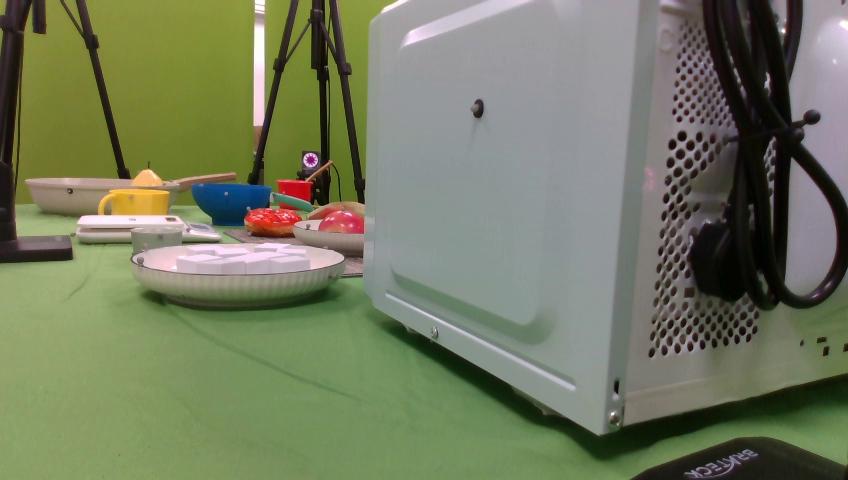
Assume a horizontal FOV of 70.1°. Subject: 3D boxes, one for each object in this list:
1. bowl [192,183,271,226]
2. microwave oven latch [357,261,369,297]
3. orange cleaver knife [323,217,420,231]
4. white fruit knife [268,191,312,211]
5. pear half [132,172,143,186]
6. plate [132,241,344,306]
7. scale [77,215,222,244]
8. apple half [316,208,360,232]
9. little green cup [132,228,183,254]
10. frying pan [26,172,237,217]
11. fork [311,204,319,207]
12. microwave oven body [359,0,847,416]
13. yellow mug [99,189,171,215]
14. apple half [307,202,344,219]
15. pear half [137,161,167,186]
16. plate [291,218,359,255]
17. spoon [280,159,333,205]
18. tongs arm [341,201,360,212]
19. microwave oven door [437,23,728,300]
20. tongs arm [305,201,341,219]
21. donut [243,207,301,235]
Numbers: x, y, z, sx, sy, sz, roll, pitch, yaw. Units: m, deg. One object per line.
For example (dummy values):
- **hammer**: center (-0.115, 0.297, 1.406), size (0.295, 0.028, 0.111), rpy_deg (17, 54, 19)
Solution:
- **bowl**: center (-0.382, -0.071, 1.202), size (0.151, 0.077, 0.151), rpy_deg (3, 7, 0)
- **microwave oven latch**: center (-0.019, 0.033, 0.530), size (0.079, 0.029, 0.030), rpy_deg (-1, 7, -26)
- **orange cleaver knife**: center (-0.096, -0.029, 1.151), size (0.077, 0.012, 0.212), rpy_deg (-5, 3, 42)
- **white fruit knife**: center (-0.364, -0.105, 1.464), size (0.208, 0.027, 0.016), rpy_deg (15, 0, -34)
- **pear half**: center (-0.638, -0.113, 1.361), size (0.031, 0.088, 0.070), rpy_deg (5, 11, 4)
- **plate**: center (-0.187, 0.033, 0.625), size (0.208, 0.039, 0.207), rpy_deg (2, 8, 0)
- **scale**: center (-0.434, -0.019, 0.963), size (0.202, 0.031, 0.148), rpy_deg (-1, 9, -27)
- **apple half**: center (-0.122, -0.020, 0.901), size (0.080, 0.053, 0.075), rpy_deg (5, 11, 22)
- **little green cup**: center (-0.342, 0.006, 0.779), size (0.061, 0.038, 0.061), rpy_deg (2, 8, 0)
- **frying pan**: center (-0.624, -0.118, 1.387), size (0.305, 0.102, 0.490), rpy_deg (8, 17, 32)
- **fork**: center (-0.356, -0.105, 1.526), size (0.208, 0.018, 0.028), rpy_deg (16, -6, -41)
- **microwave oven body**: center (0.211, -0.047, 0.474), size (0.444, 0.260, 0.324), rpy_deg (-1, 7, -28)
- **yellow mug**: center (-0.518, -0.055, 1.080), size (0.099, 0.064, 0.131), rpy_deg (6, 9, 26)
- **apple half**: center (-0.193, -0.047, 1.223), size (0.081, 0.032, 0.081), rpy_deg (-22, -6, -2)
- **pear half**: center (-0.602, -0.120, 1.354), size (0.056, 0.110, 0.076), rpy_deg (4, 11, 6)
- **plate**: center (-0.098, -0.007, 0.928), size (0.209, 0.038, 0.209), rpy_deg (2, 7, 0)
- **spoon**: center (-0.316, -0.159, 1.640), size (0.194, 0.022, 0.041), rpy_deg (-50, 32, -20)
- **tongs arm**: center (-0.149, -0.069, 1.430), size (0.051, 0.026, 0.383), rpy_deg (-4, 8, -14)
- **microwave oven door**: center (0.180, -0.072, 0.621), size (0.358, 0.243, 0.039), rpy_deg (-2, 9, -29)
- **tongs arm**: center (-0.234, -0.067, 1.415), size (0.028, 0.028, 0.387), rpy_deg (-5, 7, 1)
- **donut**: center (-0.261, -0.032, 1.043), size (0.099, 0.048, 0.099), rpy_deg (4, 9, 0)
